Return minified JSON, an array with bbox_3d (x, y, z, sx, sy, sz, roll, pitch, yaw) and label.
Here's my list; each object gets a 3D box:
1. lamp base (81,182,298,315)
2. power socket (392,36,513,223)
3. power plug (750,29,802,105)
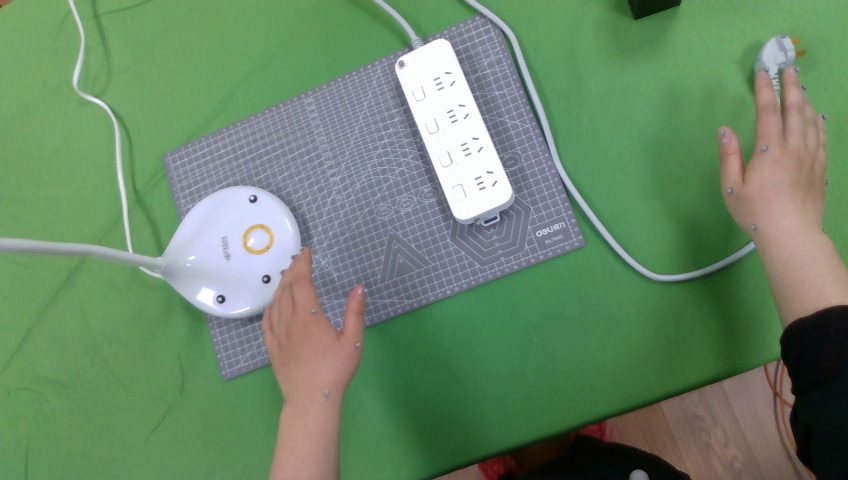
[{"bbox_3d":[-0.254,0.005,0.651,0.179,0.181,0.160,-27,78,10],"label":"lamp base"},{"bbox_3d":[0.031,-0.127,0.683,0.072,0.033,0.225,-23,79,7],"label":"power socket"},{"bbox_3d":[0.366,-0.180,0.626,0.053,0.035,0.073,-19,100,-2],"label":"power plug"}]
